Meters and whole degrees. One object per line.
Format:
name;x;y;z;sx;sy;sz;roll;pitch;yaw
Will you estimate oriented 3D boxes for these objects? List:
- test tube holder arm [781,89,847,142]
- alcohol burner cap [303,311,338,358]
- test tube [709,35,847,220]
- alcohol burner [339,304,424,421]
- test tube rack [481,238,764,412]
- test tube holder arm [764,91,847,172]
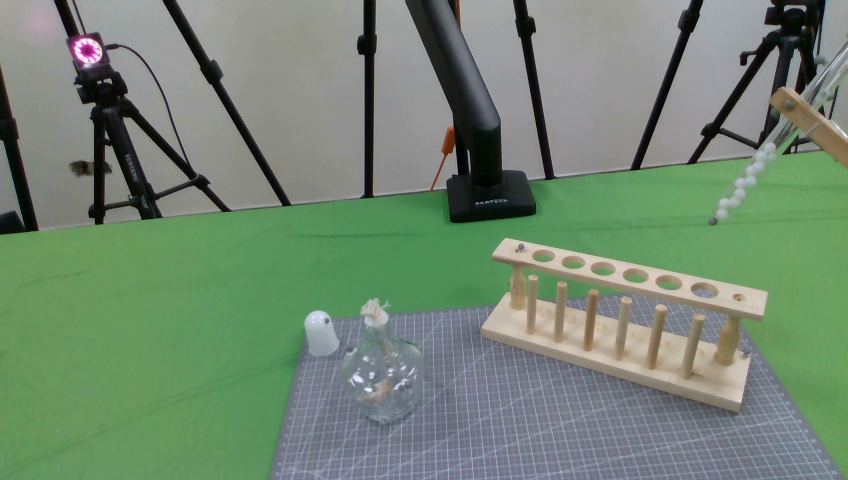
test tube holder arm;0.303;-0.039;0.401;0.013;0.015;0.177;-21;62;-33
alcohol burner cap;-0.109;0.095;0.629;0.034;0.048;0.033;-4;34;3
test tube;0.256;-0.074;0.436;0.017;0.151;0.017;17;35;-12
alcohol burner;-0.039;0.103;0.537;0.078;0.120;0.077;-3;34;3
test tube rack;0.174;0.072;0.571;0.241;0.086;0.066;13;38;28
test tube holder arm;0.273;-0.070;0.415;0.010;0.015;0.087;-26;65;-35
